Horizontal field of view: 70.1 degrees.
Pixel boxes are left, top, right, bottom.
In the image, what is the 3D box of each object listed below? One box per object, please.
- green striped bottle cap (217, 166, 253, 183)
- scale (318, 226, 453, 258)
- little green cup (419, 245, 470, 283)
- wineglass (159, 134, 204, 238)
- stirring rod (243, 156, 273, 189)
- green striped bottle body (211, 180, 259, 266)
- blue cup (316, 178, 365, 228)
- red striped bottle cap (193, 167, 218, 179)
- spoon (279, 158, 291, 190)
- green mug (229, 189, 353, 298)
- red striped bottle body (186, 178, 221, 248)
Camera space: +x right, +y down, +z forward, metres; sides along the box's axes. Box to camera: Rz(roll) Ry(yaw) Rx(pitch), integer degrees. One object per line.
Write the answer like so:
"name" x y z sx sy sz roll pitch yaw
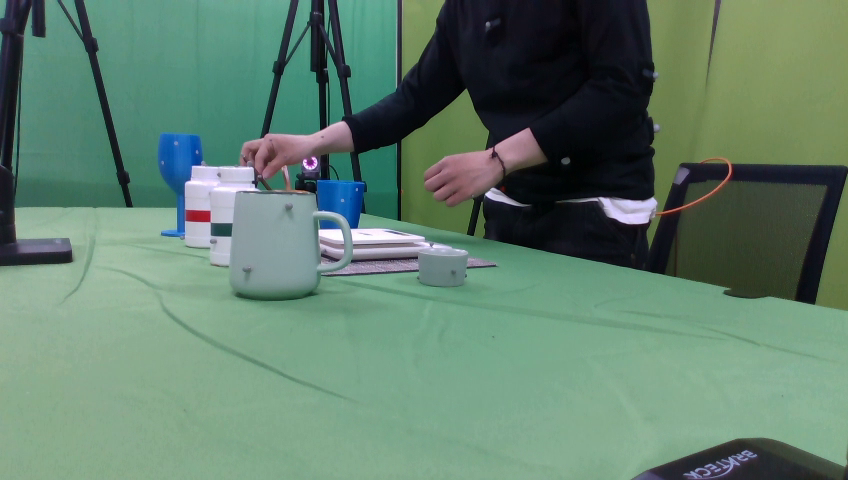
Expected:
"green striped bottle cap" -0.242 -0.085 0.777 0.044 0.020 0.044 2 8 0
"scale" -0.066 0.001 0.906 0.202 0.031 0.148 -2 8 -31
"little green cup" 0.023 0.028 0.712 0.061 0.038 0.061 2 6 0
"wineglass" -0.415 -0.093 1.040 0.074 0.172 0.073 2 7 0
"stirring rod" -0.303 -0.099 1.201 0.006 0.177 0.014 -27 37 7
"green striped bottle body" -0.243 -0.029 0.784 0.063 0.119 0.063 2 7 0
"blue cup" -0.149 -0.057 1.072 0.093 0.100 0.092 3 8 0
"red striped bottle cap" -0.329 -0.103 0.921 0.044 0.017 0.044 0 9 0
"spoon" -0.280 -0.103 1.251 0.042 0.193 0.021 6 -40 -29
"green mug" -0.135 0.002 0.618 0.125 0.105 0.092 2 7 4
"red striped bottle body" -0.331 -0.050 0.927 0.063 0.119 0.063 2 6 0
